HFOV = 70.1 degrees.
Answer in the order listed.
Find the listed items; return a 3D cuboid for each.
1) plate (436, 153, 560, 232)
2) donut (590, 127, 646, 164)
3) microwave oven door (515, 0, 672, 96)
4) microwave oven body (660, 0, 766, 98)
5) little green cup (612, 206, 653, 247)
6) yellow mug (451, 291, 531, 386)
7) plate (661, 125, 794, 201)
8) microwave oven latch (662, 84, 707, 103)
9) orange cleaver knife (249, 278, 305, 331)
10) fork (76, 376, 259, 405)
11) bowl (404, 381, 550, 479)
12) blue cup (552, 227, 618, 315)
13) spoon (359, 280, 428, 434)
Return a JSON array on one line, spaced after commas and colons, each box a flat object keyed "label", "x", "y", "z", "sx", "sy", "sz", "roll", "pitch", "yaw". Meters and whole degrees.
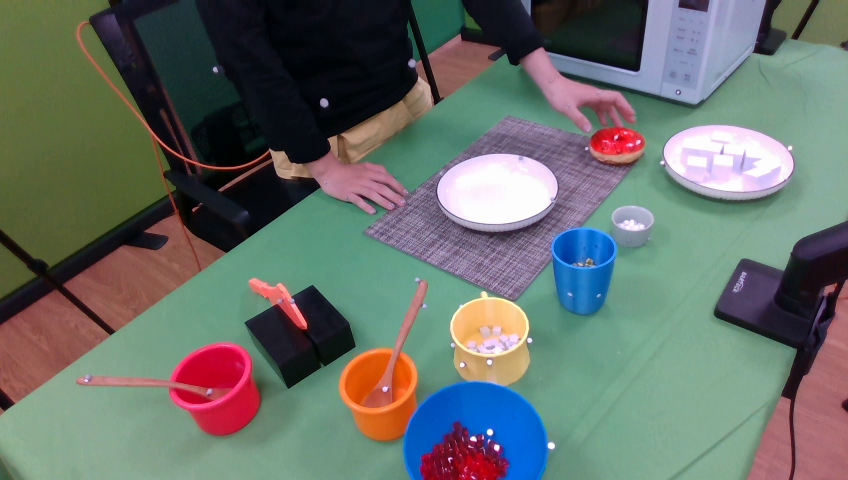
[{"label": "plate", "x": 0.125, "y": -0.078, "z": 1.029, "sx": 0.209, "sy": 0.038, "sz": 0.208, "roll": -4, "pitch": 40, "yaw": 4}, {"label": "donut", "x": 0.353, "y": -0.174, "z": 1.103, "sx": 0.099, "sy": 0.048, "sz": 0.098, "roll": -4, "pitch": 38, "yaw": 4}, {"label": "microwave oven door", "x": 0.344, "y": -0.455, "z": 1.259, "sx": 0.353, "sy": 0.245, "sz": 0.039, "roll": 26, "pitch": 51, "yaw": 33}, {"label": "microwave oven body", "x": 0.472, "y": -0.513, "z": 1.317, "sx": 0.438, "sy": 0.261, "sz": 0.327, "roll": 26, "pitch": 51, "yaw": 34}, {"label": "little green cup", "x": 0.321, "y": -0.019, "z": 0.936, "sx": 0.061, "sy": 0.039, "sz": 0.061, "roll": -4, "pitch": 40, "yaw": 4}, {"label": "yellow mug", "x": 0.085, "y": 0.120, "z": 0.786, "sx": 0.100, "sy": 0.064, "sz": 0.130, "roll": -7, "pitch": 39, "yaw": 1}, {"label": "plate", "x": 0.513, "y": -0.128, "z": 1.035, "sx": 0.207, "sy": 0.039, "sz": 0.206, "roll": -4, "pitch": 40, "yaw": 4}, {"label": "microwave oven latch", "x": 0.517, "y": -0.296, "z": 1.204, "sx": 0.078, "sy": 0.029, "sz": 0.030, "roll": 27, "pitch": 52, "yaw": 35}, {"label": "orange cleaver knife", "x": -0.210, "y": 0.089, "z": 0.856, "sx": 0.012, "sy": 0.077, "sz": 0.210, "roll": -28, "pitch": 15, "yaw": -25}, {"label": "fork", "x": -0.295, "y": 0.176, "z": 0.716, "sx": 0.209, "sy": 0.018, "sz": 0.028, "roll": 19, "pitch": 27, "yaw": -36}, {"label": "bowl", "x": 0.058, "y": 0.235, "z": 0.645, "sx": 0.151, "sy": 0.077, "sz": 0.150, "roll": -4, "pitch": 39, "yaw": 4}, {"label": "blue cup", "x": 0.217, "y": 0.047, "z": 0.825, "sx": 0.092, "sy": 0.100, "sz": 0.092, "roll": -6, "pitch": 40, "yaw": 5}, {"label": "spoon", "x": -0.032, "y": 0.138, "z": 0.719, "sx": 0.041, "sy": 0.193, "sz": 0.022, "roll": 22, "pitch": 4, "yaw": 29}]
